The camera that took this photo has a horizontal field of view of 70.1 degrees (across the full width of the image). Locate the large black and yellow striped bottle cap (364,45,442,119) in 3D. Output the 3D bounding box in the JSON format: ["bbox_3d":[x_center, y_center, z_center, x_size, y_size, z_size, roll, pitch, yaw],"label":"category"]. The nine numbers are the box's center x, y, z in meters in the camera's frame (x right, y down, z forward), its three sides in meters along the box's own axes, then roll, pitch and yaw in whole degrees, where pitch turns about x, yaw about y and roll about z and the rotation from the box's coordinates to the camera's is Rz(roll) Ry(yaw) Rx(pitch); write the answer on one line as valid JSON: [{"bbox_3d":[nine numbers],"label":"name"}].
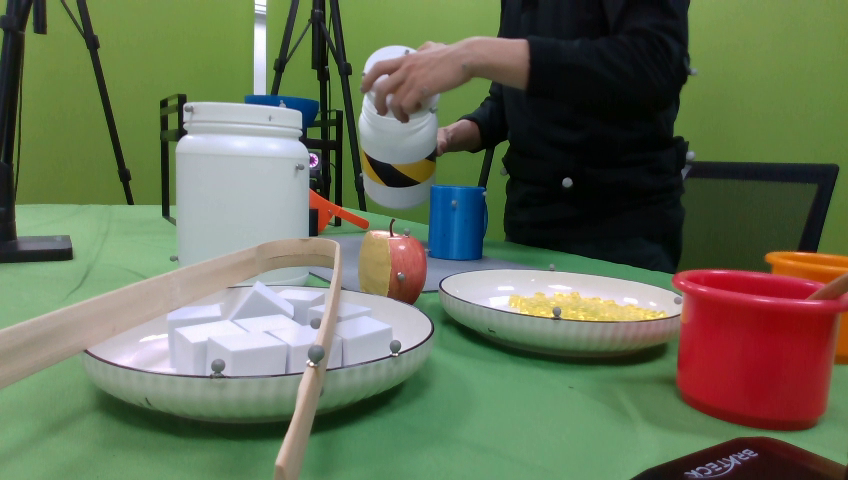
[{"bbox_3d":[-0.030,-0.230,0.875,0.115,0.114,0.019,0,-18,-18],"label":"large black and yellow striped bottle cap"}]

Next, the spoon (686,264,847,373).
[{"bbox_3d":[0.214,0.032,0.328,0.042,0.021,0.193,-3,-35,-26],"label":"spoon"}]

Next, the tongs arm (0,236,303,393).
[{"bbox_3d":[-0.157,0.038,0.351,0.028,0.028,0.388,-3,8,12],"label":"tongs arm"}]

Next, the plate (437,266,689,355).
[{"bbox_3d":[0.114,0.057,0.517,0.209,0.038,0.209,3,7,0],"label":"plate"}]

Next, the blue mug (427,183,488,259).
[{"bbox_3d":[0.059,-0.031,0.907,0.082,0.106,0.117,9,9,42],"label":"blue mug"}]

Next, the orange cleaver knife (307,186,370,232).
[{"bbox_3d":[-0.197,-0.056,1.141,0.212,0.077,0.012,29,0,-35],"label":"orange cleaver knife"}]

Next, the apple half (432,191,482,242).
[{"bbox_3d":[0.048,-0.037,0.905,0.081,0.081,0.033,2,15,-1],"label":"apple half"}]

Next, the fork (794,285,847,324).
[{"bbox_3d":[0.332,0.018,0.443,0.028,0.018,0.207,-1,-36,-16],"label":"fork"}]

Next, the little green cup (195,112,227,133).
[{"bbox_3d":[-0.412,-0.227,1.171,0.061,0.038,0.061,3,8,0],"label":"little green cup"}]

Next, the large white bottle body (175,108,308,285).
[{"bbox_3d":[-0.188,-0.042,0.630,0.131,0.184,0.130,2,8,0],"label":"large white bottle body"}]

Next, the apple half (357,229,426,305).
[{"bbox_3d":[-0.026,0.028,0.570,0.053,0.074,0.080,3,2,-28],"label":"apple half"}]

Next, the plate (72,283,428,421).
[{"bbox_3d":[-0.102,0.066,0.381,0.208,0.039,0.207,2,7,0],"label":"plate"}]

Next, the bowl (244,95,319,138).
[{"bbox_3d":[-0.293,-0.251,1.249,0.151,0.077,0.151,2,8,0],"label":"bowl"}]

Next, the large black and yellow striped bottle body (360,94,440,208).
[{"bbox_3d":[-0.040,-0.160,1.015,0.131,0.184,0.130,1,48,-1],"label":"large black and yellow striped bottle body"}]

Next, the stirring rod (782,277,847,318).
[{"bbox_3d":[0.344,0.019,0.461,0.014,0.006,0.176,-13,-27,-30],"label":"stirring rod"}]

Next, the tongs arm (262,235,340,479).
[{"bbox_3d":[-0.074,0.039,0.349,0.051,0.026,0.384,-2,9,-3],"label":"tongs arm"}]

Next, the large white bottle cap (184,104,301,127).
[{"bbox_3d":[-0.184,-0.126,0.618,0.115,0.018,0.115,2,8,0],"label":"large white bottle cap"}]
